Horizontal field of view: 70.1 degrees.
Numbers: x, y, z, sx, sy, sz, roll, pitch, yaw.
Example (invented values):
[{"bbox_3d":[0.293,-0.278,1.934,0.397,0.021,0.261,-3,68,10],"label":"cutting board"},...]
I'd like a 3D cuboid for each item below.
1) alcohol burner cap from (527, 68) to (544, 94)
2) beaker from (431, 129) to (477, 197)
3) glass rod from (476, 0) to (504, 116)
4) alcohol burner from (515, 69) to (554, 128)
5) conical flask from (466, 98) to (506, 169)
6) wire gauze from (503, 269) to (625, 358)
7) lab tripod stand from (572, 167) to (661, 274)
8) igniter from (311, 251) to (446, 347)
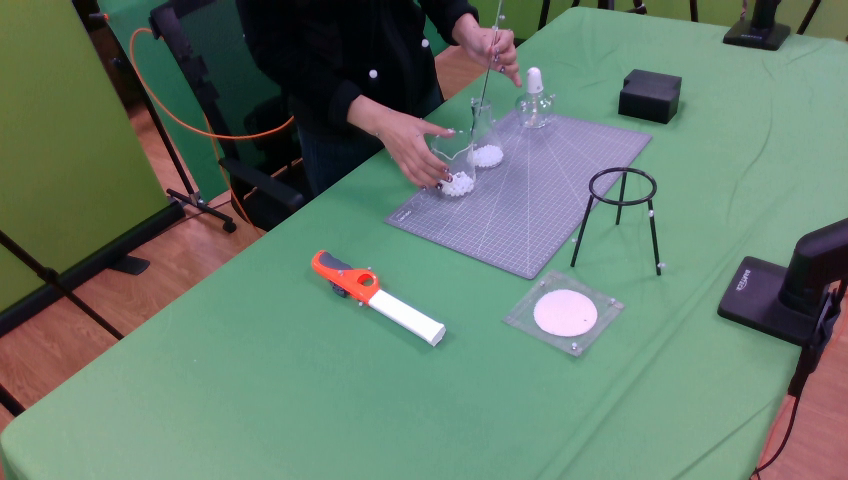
[{"bbox_3d":[0.216,-0.312,1.179,0.034,0.048,0.033,-9,40,9],"label":"alcohol burner cap"},{"bbox_3d":[0.055,-0.131,1.063,0.074,0.101,0.083,-3,41,8],"label":"beaker"},{"bbox_3d":[0.113,-0.309,1.039,0.008,0.200,0.008,8,30,-4],"label":"glass rod"},{"bbox_3d":[0.221,-0.285,1.203,0.078,0.119,0.077,-4,39,4],"label":"alcohol burner"},{"bbox_3d":[0.111,-0.199,1.116,0.075,0.122,0.075,-5,40,5],"label":"conical flask"},{"bbox_3d":[0.194,0.100,0.840,0.120,0.011,0.125,27,54,36],"label":"wire gauze"},{"bbox_3d":[0.283,-0.030,0.879,0.148,0.132,0.147,-7,38,6],"label":"lab tripod stand"},{"bbox_3d":[-0.078,0.081,0.899,0.274,0.025,0.057,27,63,35],"label":"igniter"}]
